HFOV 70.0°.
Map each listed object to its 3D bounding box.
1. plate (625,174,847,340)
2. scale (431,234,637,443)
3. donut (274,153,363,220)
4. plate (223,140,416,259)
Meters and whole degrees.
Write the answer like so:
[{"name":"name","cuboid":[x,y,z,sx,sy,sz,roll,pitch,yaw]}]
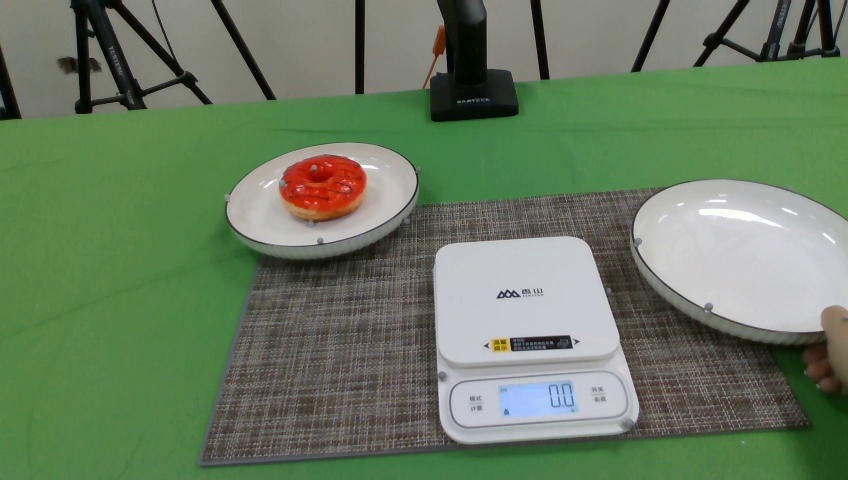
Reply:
[{"name":"plate","cuboid":[0.288,0.014,0.549,0.207,0.039,0.205,-2,41,2]},{"name":"scale","cuboid":[0.082,0.072,0.510,0.148,0.032,0.199,-5,41,2]},{"name":"donut","cuboid":[-0.115,-0.059,0.667,0.099,0.049,0.098,-3,39,3]},{"name":"plate","cuboid":[-0.112,-0.044,0.665,0.209,0.038,0.207,-4,38,4]}]
